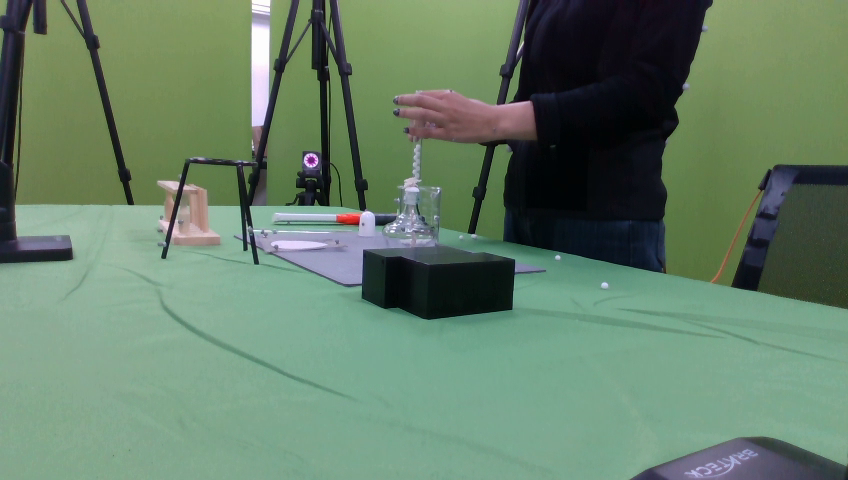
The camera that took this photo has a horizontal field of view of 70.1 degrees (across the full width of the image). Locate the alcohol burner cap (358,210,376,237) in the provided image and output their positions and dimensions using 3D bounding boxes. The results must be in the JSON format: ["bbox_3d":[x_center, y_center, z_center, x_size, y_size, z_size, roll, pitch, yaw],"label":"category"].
[{"bbox_3d":[-0.104,-0.030,1.098,0.034,0.048,0.034,3,7,0],"label":"alcohol burner cap"}]

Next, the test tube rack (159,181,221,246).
[{"bbox_3d":[-0.395,-0.050,1.010,0.067,0.085,0.241,-2,8,-28],"label":"test tube rack"}]

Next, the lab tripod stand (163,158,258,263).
[{"bbox_3d":[-0.265,-0.041,0.802,0.148,0.131,0.148,4,6,0],"label":"lab tripod stand"}]

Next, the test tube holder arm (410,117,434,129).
[{"bbox_3d":[-0.002,-0.203,1.053,0.013,0.015,0.178,9,10,8],"label":"test tube holder arm"}]

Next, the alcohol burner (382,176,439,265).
[{"bbox_3d":[-0.018,-0.027,0.818,0.078,0.119,0.078,3,9,0],"label":"alcohol burner"}]

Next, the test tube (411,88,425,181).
[{"bbox_3d":[-0.010,-0.171,0.989,0.017,0.150,0.017,3,8,0],"label":"test tube"}]

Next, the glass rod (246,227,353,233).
[{"bbox_3d":[-0.224,-0.017,1.109,0.201,0.008,0.008,1,7,-27],"label":"glass rod"}]

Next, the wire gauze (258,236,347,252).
[{"bbox_3d":[-0.189,0.005,0.931,0.122,0.011,0.124,1,7,-21],"label":"wire gauze"}]

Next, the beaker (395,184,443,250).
[{"bbox_3d":[-0.007,-0.037,0.965,0.074,0.100,0.083,-4,10,-40],"label":"beaker"}]

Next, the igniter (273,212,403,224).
[{"bbox_3d":[-0.179,-0.048,1.290,0.278,0.025,0.057,-1,-2,-24],"label":"igniter"}]

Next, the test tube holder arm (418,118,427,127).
[{"bbox_3d":[-0.002,-0.195,1.009,0.010,0.015,0.088,8,10,1],"label":"test tube holder arm"}]
